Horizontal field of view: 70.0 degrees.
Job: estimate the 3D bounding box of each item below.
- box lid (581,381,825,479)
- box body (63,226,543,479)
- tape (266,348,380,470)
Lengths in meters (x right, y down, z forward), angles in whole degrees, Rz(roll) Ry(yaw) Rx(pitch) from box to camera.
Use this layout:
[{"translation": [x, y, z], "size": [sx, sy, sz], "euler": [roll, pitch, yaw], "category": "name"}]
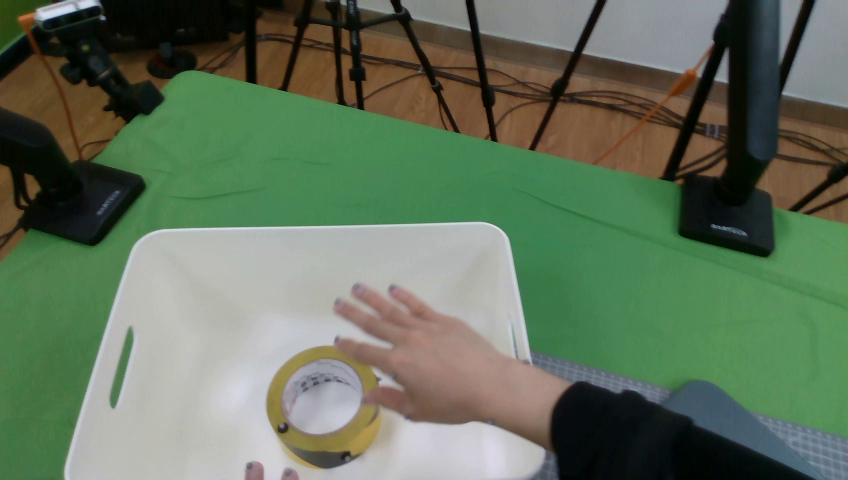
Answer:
[{"translation": [0.320, 0.324, 0.545], "size": [0.263, 0.015, 0.368], "euler": [-32, 59, -24], "category": "box lid"}, {"translation": [-0.092, 0.135, 0.582], "size": [0.364, 0.162, 0.251], "euler": [-2, 51, -3], "category": "box body"}, {"translation": [-0.102, 0.170, 0.617], "size": [0.117, 0.053, 0.115], "euler": [1, 51, -1], "category": "tape"}]
